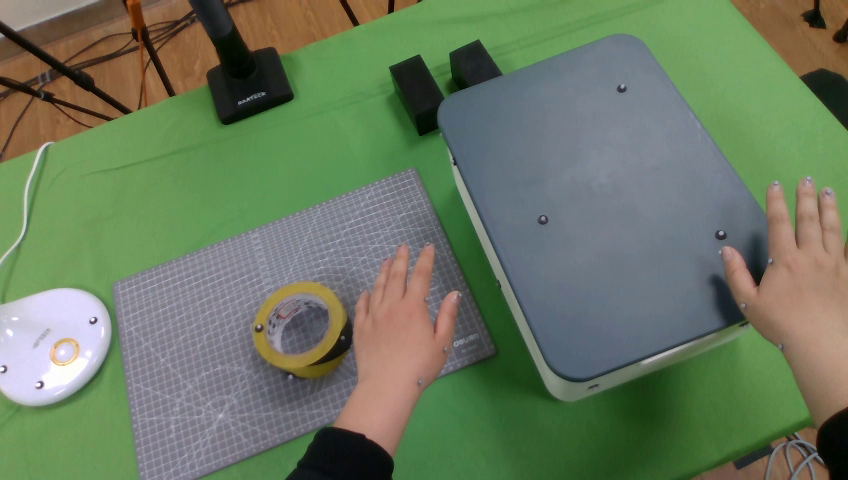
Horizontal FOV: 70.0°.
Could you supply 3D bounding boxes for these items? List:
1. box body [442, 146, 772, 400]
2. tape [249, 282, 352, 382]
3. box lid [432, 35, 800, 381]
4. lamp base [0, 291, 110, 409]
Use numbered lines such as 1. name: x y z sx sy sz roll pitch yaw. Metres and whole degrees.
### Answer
1. box body: 0.192 -0.023 0.710 0.254 0.162 0.360 -21 63 -3
2. tape: -0.152 0.113 0.749 0.117 0.053 0.116 -3 63 6
3. box lid: 0.183 -0.059 0.646 0.263 0.015 0.368 -21 63 -3
4. lamp base: -0.515 0.105 0.734 0.178 0.182 0.159 13 66 17
